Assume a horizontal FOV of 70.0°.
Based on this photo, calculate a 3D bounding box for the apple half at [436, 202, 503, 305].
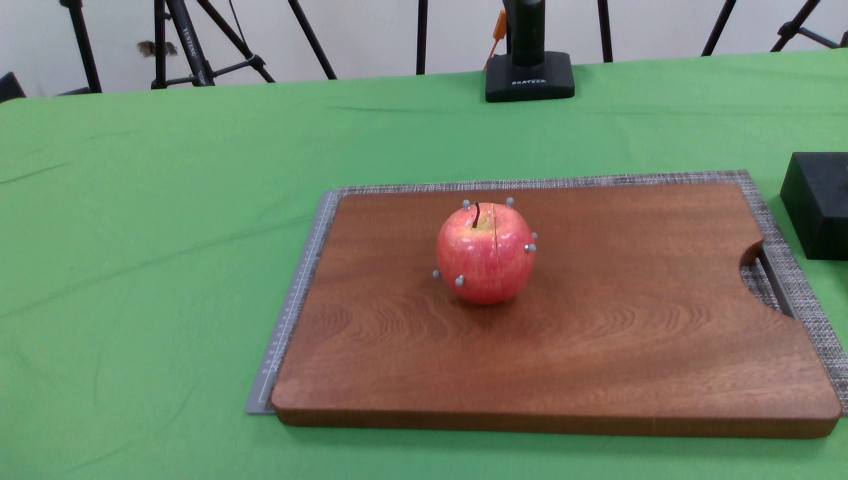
[{"bbox_3d":[0.037,0.013,0.501,0.053,0.075,0.080,-7,44,8],"label":"apple half"}]

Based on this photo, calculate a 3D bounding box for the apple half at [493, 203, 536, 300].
[{"bbox_3d":[0.075,0.009,0.497,0.033,0.082,0.080,-7,40,8],"label":"apple half"}]
